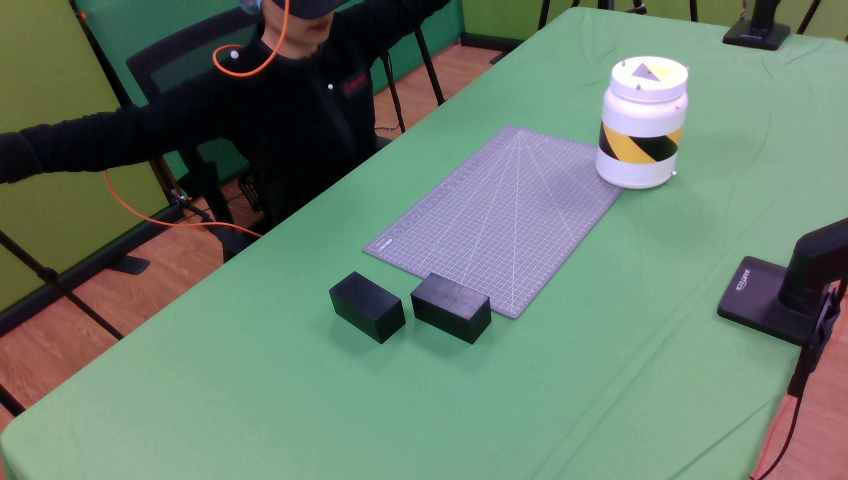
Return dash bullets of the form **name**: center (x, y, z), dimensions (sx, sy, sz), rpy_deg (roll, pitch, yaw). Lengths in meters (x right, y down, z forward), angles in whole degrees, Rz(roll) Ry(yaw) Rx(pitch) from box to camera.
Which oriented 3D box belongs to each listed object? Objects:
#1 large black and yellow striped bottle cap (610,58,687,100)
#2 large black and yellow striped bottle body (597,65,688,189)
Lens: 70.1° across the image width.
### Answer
- **large black and yellow striped bottle cap**: center (0.355, -0.257, 0.958), dimensions (0.115, 0.019, 0.114), rpy_deg (-2, 41, 3)
- **large black and yellow striped bottle body**: center (0.363, -0.193, 1.011), dimensions (0.131, 0.185, 0.130), rpy_deg (-4, 40, 4)
